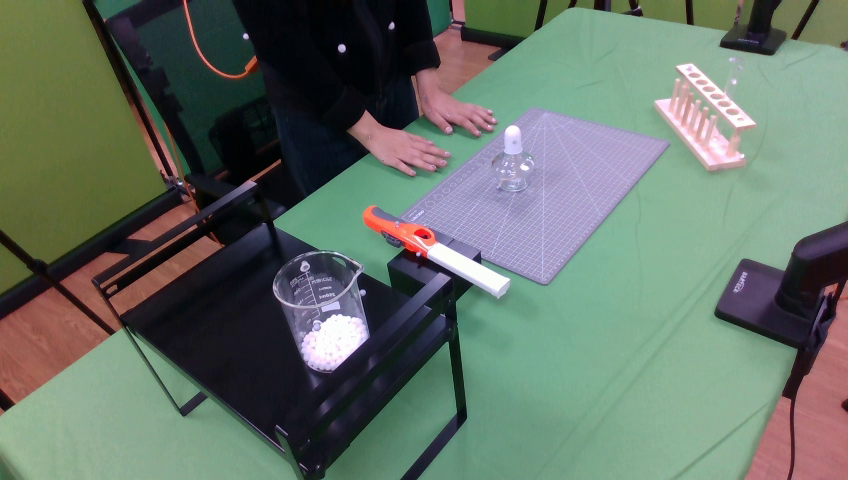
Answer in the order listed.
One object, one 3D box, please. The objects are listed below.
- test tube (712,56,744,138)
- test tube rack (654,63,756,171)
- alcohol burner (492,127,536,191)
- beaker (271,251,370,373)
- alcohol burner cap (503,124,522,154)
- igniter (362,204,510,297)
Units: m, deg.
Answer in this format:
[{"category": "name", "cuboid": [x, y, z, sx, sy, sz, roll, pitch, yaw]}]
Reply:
[{"category": "test tube", "cuboid": [0.530, -0.246, 1.056, 0.017, 0.151, 0.017, -1, 39, 1]}, {"category": "test tube rack", "cuboid": [0.510, -0.233, 1.120, 0.067, 0.085, 0.241, -8, 41, -1]}, {"category": "alcohol burner", "cuboid": [0.155, -0.146, 1.046, 0.078, 0.119, 0.077, -4, 43, 4]}, {"category": "beaker", "cuboid": [-0.090, 0.069, 0.571, 0.084, 0.101, 0.073, -19, 42, -13]}, {"category": "alcohol burner cap", "cuboid": [0.151, -0.173, 1.022, 0.034, 0.048, 0.033, -4, 36, 3]}, {"category": "igniter", "cuboid": [0.006, 0.009, 0.887, 0.274, 0.025, 0.057, 29, 50, 32]}]
